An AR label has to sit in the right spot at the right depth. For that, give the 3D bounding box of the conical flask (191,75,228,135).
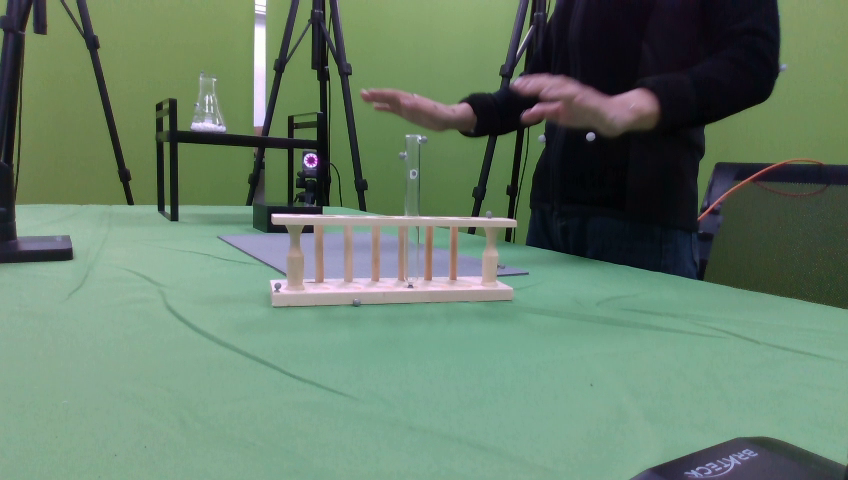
[{"bbox_3d":[-0.457,-0.286,1.286,0.075,0.122,0.075,2,7,0],"label":"conical flask"}]

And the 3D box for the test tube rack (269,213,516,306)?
[{"bbox_3d":[-0.032,0.015,0.617,0.243,0.085,0.066,0,7,-17],"label":"test tube rack"}]

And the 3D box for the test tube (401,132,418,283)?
[{"bbox_3d":[-0.014,-0.031,0.596,0.017,0.150,0.017,1,11,0],"label":"test tube"}]
